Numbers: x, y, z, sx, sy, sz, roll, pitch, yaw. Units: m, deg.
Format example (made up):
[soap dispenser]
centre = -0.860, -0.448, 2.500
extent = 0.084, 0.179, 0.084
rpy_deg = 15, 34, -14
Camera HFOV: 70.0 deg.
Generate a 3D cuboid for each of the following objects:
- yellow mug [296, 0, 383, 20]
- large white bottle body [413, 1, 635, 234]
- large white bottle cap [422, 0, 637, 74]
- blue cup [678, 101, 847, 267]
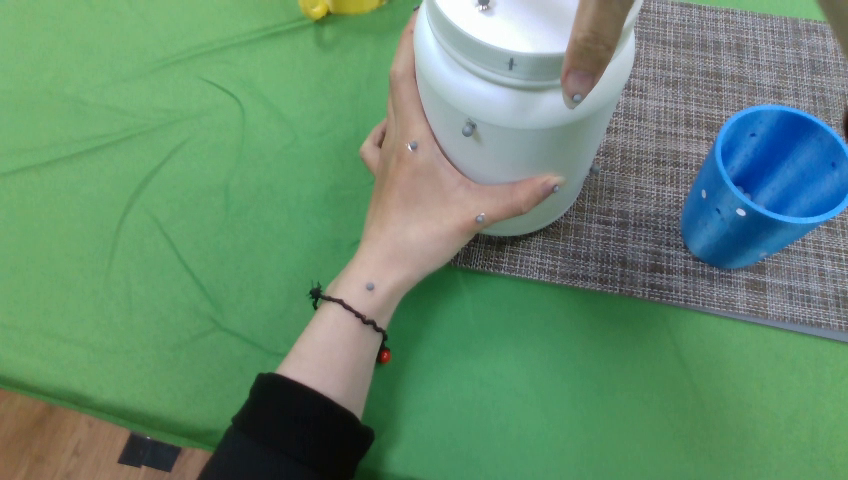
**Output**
[yellow mug]
centre = -0.080, -0.253, 0.542
extent = 0.099, 0.064, 0.130
rpy_deg = 21, 67, 10
[large white bottle body]
centre = 0.058, -0.099, 0.399
extent = 0.130, 0.186, 0.129
rpy_deg = 0, 64, 0
[large white bottle cap]
centre = 0.056, -0.137, 0.322
extent = 0.115, 0.018, 0.114
rpy_deg = 0, 64, 0
[blue cup]
centre = 0.219, -0.028, 0.411
extent = 0.092, 0.101, 0.092
rpy_deg = -1, 64, 2
